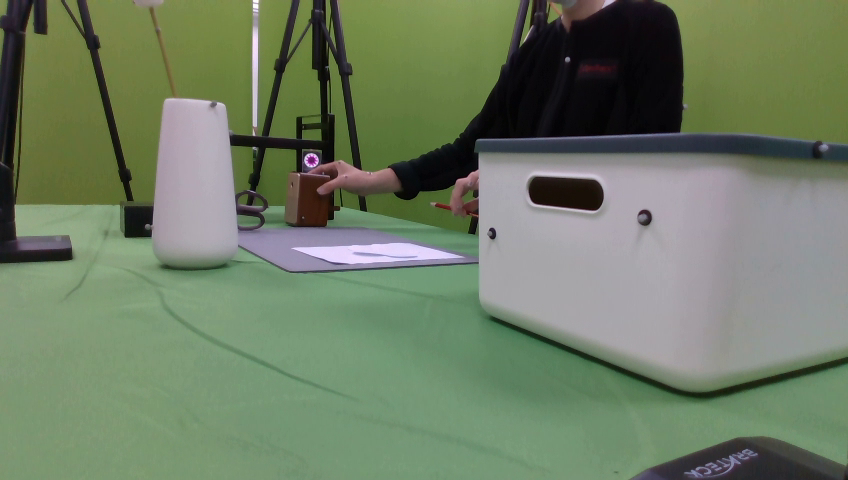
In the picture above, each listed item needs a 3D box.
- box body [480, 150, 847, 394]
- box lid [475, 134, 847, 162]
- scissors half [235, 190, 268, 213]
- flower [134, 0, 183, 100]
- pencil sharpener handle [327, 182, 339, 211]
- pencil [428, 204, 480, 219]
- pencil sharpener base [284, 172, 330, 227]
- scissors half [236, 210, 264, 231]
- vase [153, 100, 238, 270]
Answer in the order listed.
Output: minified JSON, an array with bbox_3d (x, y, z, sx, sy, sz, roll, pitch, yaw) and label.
[{"bbox_3d":[0.254,0.002,0.539,0.366,0.160,0.253,-2,8,-31],"label":"box body"},{"bbox_3d":[0.256,-0.073,0.528,0.373,0.015,0.262,-2,8,-31],"label":"box lid"},{"bbox_3d":[-0.363,-0.070,1.060,0.176,0.040,0.013,0,16,-23],"label":"scissors half"},{"bbox_3d":[-0.282,-0.147,0.713,0.038,0.362,0.044,-23,24,-31],"label":"flower"},{"bbox_3d":[-0.192,-0.093,1.259,0.031,0.067,0.036,2,-5,-37],"label":"pencil sharpener handle"},{"bbox_3d":[0.086,-0.040,0.989,0.193,0.012,0.012,16,13,30],"label":"pencil"},{"bbox_3d":[-0.236,-0.082,1.232,0.077,0.107,0.061,2,6,-37],"label":"pencil sharpener base"},{"bbox_3d":[-0.369,-0.051,1.064,0.176,0.040,0.012,19,13,-27],"label":"scissors half"},{"bbox_3d":[-0.278,-0.066,0.736,0.098,0.200,0.098,2,9,0],"label":"vase"}]
